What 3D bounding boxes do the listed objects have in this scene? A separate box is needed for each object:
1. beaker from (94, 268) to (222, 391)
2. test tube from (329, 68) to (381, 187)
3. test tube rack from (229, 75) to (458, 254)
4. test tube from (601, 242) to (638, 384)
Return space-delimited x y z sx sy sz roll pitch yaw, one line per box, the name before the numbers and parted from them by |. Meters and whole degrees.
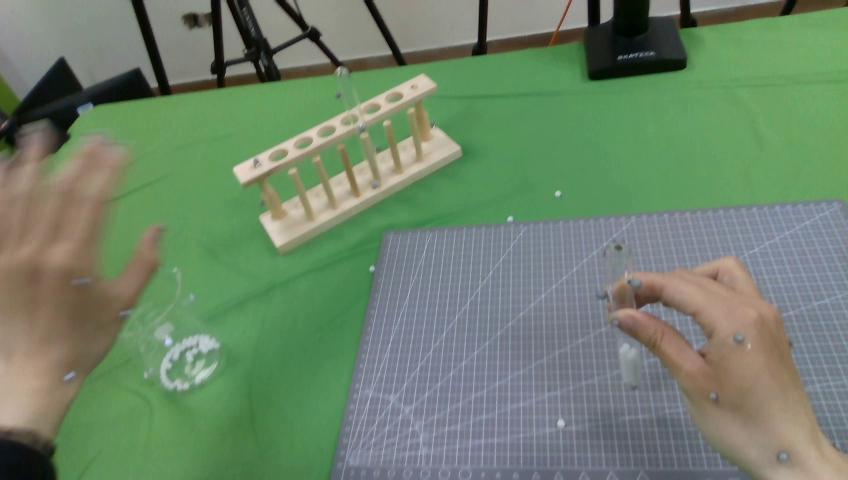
beaker | -0.236 0.084 0.558 0.073 0.101 0.083 18 54 29
test tube | -0.072 -0.116 0.651 0.017 0.152 0.017 -8 45 9
test tube rack | -0.085 -0.089 0.691 0.242 0.086 0.066 -30 47 -13
test tube | 0.131 0.055 0.401 0.017 0.152 0.017 -11 46 12
